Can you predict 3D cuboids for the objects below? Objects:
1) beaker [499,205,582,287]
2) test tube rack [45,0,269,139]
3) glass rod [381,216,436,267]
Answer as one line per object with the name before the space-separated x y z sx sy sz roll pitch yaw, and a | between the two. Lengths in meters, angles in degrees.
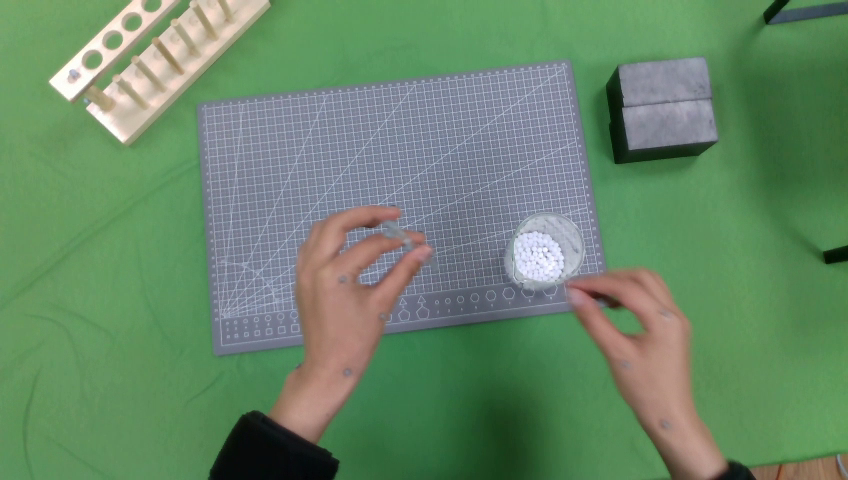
beaker | 0.117 0.014 0.644 0.084 0.100 0.074 -44 83 -6
test tube rack | -0.295 -0.235 0.689 0.066 0.085 0.242 42 83 7
glass rod | -0.009 0.005 0.495 0.008 0.201 0.008 -2 79 10
